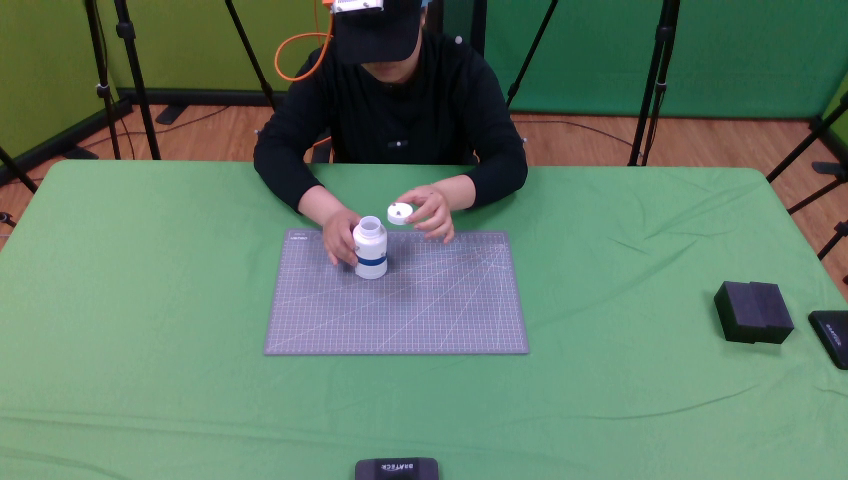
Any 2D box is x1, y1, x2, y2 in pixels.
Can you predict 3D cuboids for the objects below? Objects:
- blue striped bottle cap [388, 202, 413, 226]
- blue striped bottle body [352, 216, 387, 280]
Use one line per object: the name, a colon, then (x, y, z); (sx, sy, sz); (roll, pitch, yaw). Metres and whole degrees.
blue striped bottle cap: (-0.041, -0.045, 1.046); (0.044, 0.021, 0.044); (0, 43, 0)
blue striped bottle body: (-0.100, 0.011, 1.108); (0.063, 0.121, 0.062); (2, 46, -1)
